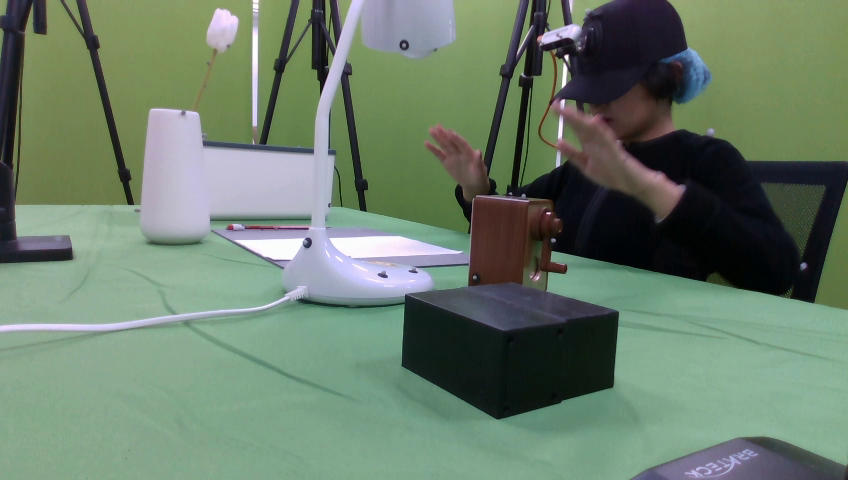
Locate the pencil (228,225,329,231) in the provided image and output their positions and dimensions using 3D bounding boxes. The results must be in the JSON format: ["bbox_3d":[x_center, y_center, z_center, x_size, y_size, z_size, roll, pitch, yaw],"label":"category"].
[{"bbox_3d":[-0.265,-0.023,1.124,0.195,0.012,0.012,-1,8,-32],"label":"pencil"}]

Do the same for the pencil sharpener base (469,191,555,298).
[{"bbox_3d":[0.097,0.003,0.652,0.076,0.107,0.061,8,9,38],"label":"pencil sharpener base"}]

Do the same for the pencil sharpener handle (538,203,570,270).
[{"bbox_3d":[0.137,-0.003,0.619,0.030,0.067,0.036,8,4,38],"label":"pencil sharpener handle"}]

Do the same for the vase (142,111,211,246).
[{"bbox_3d":[-0.378,-0.093,0.920,0.098,0.200,0.098,2,9,0],"label":"vase"}]

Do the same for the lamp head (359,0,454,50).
[{"bbox_3d":[-0.024,-0.283,0.674,0.112,0.123,0.112,-3,38,3],"label":"lamp head"}]

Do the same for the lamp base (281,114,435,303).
[{"bbox_3d":[-0.071,-0.035,0.614,0.160,0.180,0.180,6,10,27],"label":"lamp base"}]

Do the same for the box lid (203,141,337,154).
[{"bbox_3d":[-0.407,-0.209,1.370,0.373,0.015,0.262,-1,8,-31],"label":"box lid"}]

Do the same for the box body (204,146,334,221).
[{"bbox_3d":[-0.413,-0.134,1.379,0.366,0.160,0.253,-2,9,-31],"label":"box body"}]

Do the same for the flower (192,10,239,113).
[{"bbox_3d":[-0.354,-0.174,0.915,0.038,0.361,0.044,18,-4,12],"label":"flower"}]
